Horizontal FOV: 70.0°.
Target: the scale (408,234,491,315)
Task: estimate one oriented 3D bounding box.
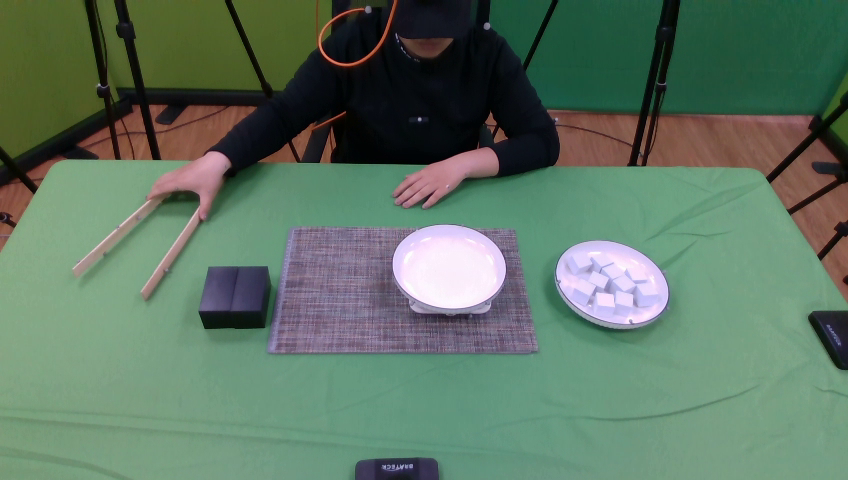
[{"bbox_3d":[0.045,0.055,1.135,0.149,0.032,0.199,1,46,-3],"label":"scale"}]

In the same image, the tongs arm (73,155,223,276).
[{"bbox_3d":[-0.532,-0.059,1.205,0.050,0.026,0.383,18,47,12],"label":"tongs arm"}]

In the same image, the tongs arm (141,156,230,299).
[{"bbox_3d":[-0.460,-0.038,1.195,0.028,0.028,0.385,7,46,7],"label":"tongs arm"}]

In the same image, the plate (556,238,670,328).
[{"bbox_3d":[0.347,0.083,1.130,0.209,0.038,0.208,2,47,-2],"label":"plate"}]

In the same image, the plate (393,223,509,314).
[{"bbox_3d":[0.048,0.053,1.091,0.208,0.039,0.206,1,46,-1],"label":"plate"}]
